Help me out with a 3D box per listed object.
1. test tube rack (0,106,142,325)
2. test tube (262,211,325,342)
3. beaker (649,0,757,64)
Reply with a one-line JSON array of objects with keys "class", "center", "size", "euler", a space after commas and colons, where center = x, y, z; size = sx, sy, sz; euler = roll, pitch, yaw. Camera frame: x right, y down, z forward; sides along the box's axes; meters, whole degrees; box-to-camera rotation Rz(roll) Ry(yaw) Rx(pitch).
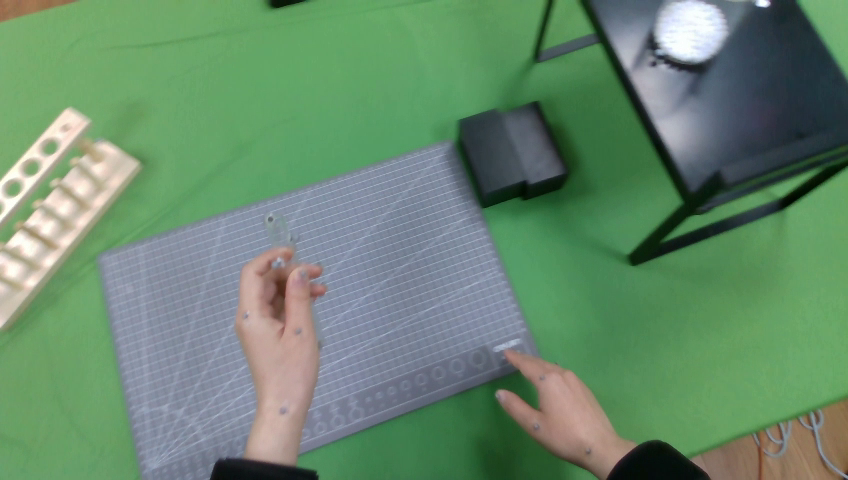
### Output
[{"class": "test tube rack", "center": [-0.445, -0.027, 0.694], "size": [0.066, 0.085, 0.241], "euler": [31, 75, 10]}, {"class": "test tube", "center": [-0.107, 0.037, 0.508], "size": [0.017, 0.152, 0.017], "euler": [-5, 43, 5]}, {"class": "beaker", "center": [0.257, -0.220, 0.557], "size": [0.074, 0.101, 0.083], "euler": [12, 73, 4]}]
